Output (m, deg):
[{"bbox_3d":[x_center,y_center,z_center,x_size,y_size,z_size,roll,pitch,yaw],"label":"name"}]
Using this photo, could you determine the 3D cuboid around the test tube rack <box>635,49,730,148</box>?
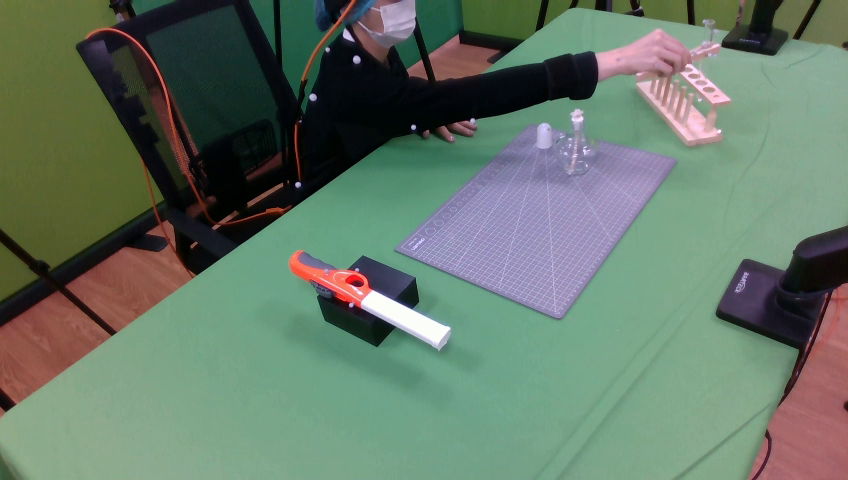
[{"bbox_3d":[0.497,-0.283,1.185,0.067,0.085,0.240,-10,40,-2],"label":"test tube rack"}]

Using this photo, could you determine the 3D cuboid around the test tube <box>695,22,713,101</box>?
[{"bbox_3d":[0.508,-0.321,1.099,0.017,0.151,0.017,-8,41,7],"label":"test tube"}]

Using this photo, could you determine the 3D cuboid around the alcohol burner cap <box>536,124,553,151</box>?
[{"bbox_3d":[0.231,-0.199,1.158,0.034,0.048,0.033,-5,41,5],"label":"alcohol burner cap"}]

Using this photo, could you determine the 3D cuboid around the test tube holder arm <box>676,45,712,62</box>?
[{"bbox_3d":[0.483,-0.329,1.082,0.088,0.015,0.010,-29,40,-22],"label":"test tube holder arm"}]

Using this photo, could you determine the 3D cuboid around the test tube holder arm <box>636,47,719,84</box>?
[{"bbox_3d":[0.447,-0.308,1.064,0.179,0.015,0.013,-23,38,-16],"label":"test tube holder arm"}]

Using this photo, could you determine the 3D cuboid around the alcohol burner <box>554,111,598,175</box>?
[{"bbox_3d":[0.270,-0.175,1.066,0.078,0.119,0.077,-4,42,4],"label":"alcohol burner"}]

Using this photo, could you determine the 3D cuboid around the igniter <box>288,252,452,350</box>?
[{"bbox_3d":[-0.084,0.077,0.821,0.274,0.025,0.057,23,48,27],"label":"igniter"}]
